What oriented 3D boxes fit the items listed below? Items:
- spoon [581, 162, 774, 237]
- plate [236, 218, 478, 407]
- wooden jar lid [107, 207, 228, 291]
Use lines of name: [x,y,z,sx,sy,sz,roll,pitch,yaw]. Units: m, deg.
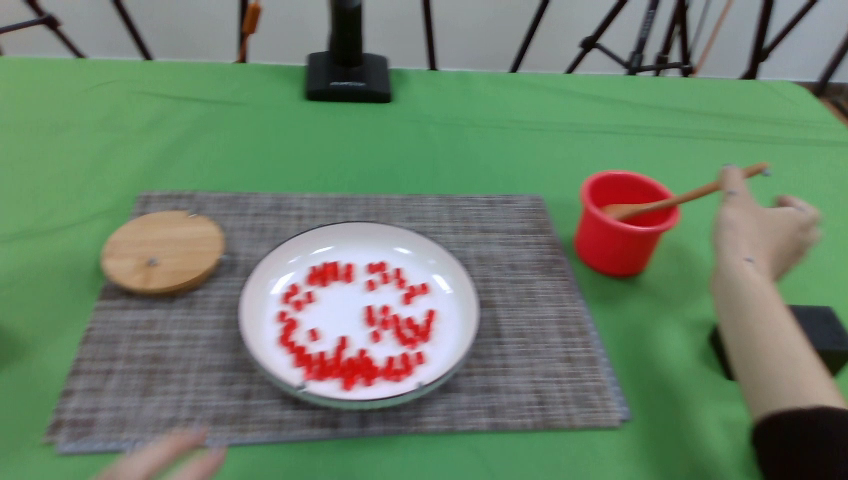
spoon: [0.244,-0.040,0.606,0.193,0.022,0.041,-18,27,34]
plate: [-0.057,0.062,0.540,0.208,0.039,0.205,4,44,-3]
wooden jar lid: [-0.245,0.009,0.584,0.108,0.021,0.107,5,42,-4]
